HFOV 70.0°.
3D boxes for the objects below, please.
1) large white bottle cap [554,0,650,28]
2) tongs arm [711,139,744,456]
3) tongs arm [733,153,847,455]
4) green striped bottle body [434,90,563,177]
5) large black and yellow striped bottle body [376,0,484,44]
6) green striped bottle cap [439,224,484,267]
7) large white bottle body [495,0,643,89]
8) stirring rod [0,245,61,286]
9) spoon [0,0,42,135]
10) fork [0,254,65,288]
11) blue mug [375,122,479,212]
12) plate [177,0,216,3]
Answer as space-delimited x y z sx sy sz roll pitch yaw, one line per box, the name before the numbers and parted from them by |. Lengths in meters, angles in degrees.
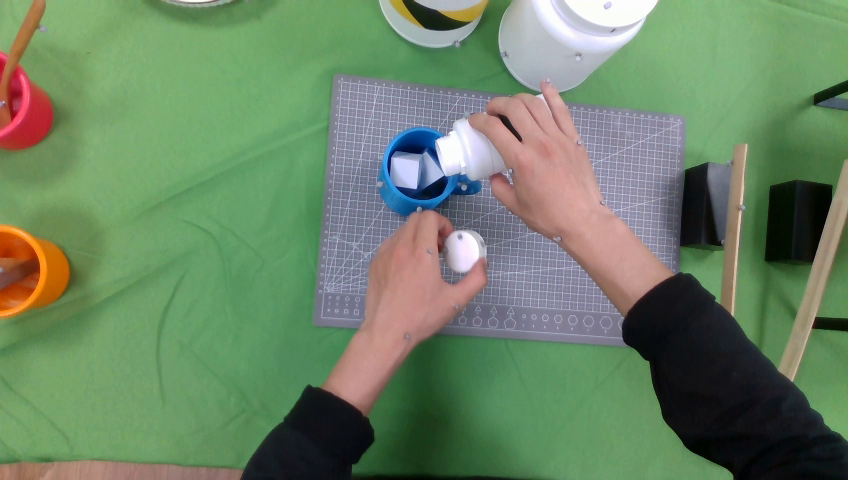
large white bottle cap | 0.173 -0.265 0.591 0.115 0.018 0.114 1 86 -9
tongs arm | 0.376 0.074 0.727 0.051 0.026 0.385 0 98 -10
tongs arm | 0.456 0.082 0.740 0.028 0.027 0.388 13 96 -15
green striped bottle body | 0.071 -0.103 0.600 0.119 0.063 0.063 -18 89 -7
large black and yellow striped bottle body | 0.016 -0.308 0.656 0.131 0.184 0.130 1 86 -8
green striped bottle cap | 0.038 0.005 0.614 0.044 0.020 0.044 -1 88 30
large white bottle body | 0.162 -0.259 0.674 0.131 0.184 0.130 0 86 -8
stirring rod | -0.440 0.049 0.595 0.014 0.006 0.175 52 39 -6
spoon | -0.417 -0.170 0.607 0.041 0.021 0.194 51 125 1
fork | -0.459 0.009 0.588 0.209 0.018 0.028 30 79 -49
blue mug | 0.004 -0.074 0.679 0.117 0.106 0.082 12 84 -7
plate | -0.265 -0.370 0.693 0.208 0.039 0.207 0 87 -8
